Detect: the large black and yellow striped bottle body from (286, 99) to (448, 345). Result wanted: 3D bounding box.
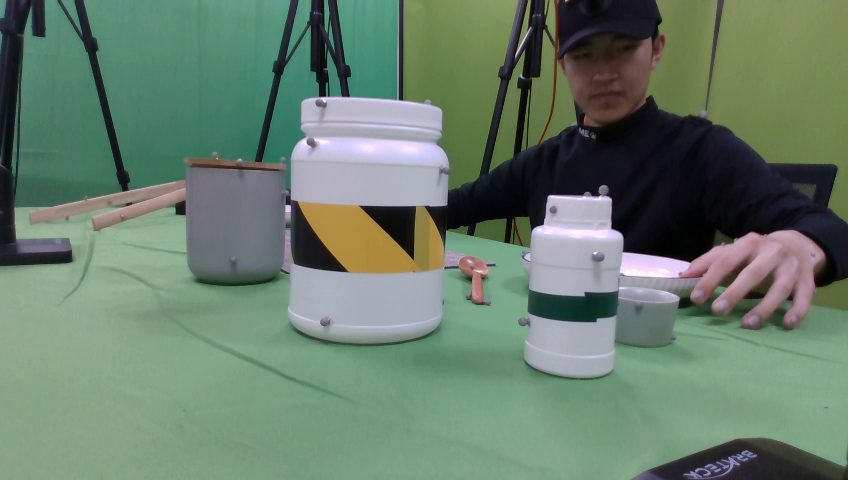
[{"bbox_3d":[-0.047,-0.018,0.501,0.131,0.184,0.130,2,7,0],"label":"large black and yellow striped bottle body"}]

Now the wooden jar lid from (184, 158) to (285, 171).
[{"bbox_3d":[-0.210,-0.078,0.674,0.108,0.020,0.108,4,5,0],"label":"wooden jar lid"}]

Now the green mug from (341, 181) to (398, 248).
[{"bbox_3d":[-0.089,-0.044,0.997,0.093,0.105,0.125,1,7,-8],"label":"green mug"}]

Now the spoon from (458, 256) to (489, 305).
[{"bbox_3d":[0.059,0.044,0.696,0.041,0.021,0.194,21,7,0],"label":"spoon"}]

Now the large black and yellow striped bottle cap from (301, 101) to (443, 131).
[{"bbox_3d":[-0.042,-0.100,0.491,0.115,0.019,0.115,1,8,0],"label":"large black and yellow striped bottle cap"}]

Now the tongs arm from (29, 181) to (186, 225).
[{"bbox_3d":[-0.609,-0.083,1.245,0.050,0.026,0.386,5,16,23],"label":"tongs arm"}]

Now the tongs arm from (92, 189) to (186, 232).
[{"bbox_3d":[-0.534,-0.076,1.222,0.028,0.028,0.388,-2,15,12],"label":"tongs arm"}]

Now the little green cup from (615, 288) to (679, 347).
[{"bbox_3d":[0.180,0.064,0.506,0.061,0.038,0.061,1,8,0],"label":"little green cup"}]

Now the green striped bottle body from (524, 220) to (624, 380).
[{"bbox_3d":[0.104,0.031,0.422,0.063,0.119,0.063,2,8,0],"label":"green striped bottle body"}]

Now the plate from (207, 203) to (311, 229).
[{"bbox_3d":[-0.342,-0.050,1.259,0.208,0.039,0.207,3,7,0],"label":"plate"}]

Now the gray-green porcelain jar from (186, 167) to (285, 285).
[{"bbox_3d":[-0.212,-0.017,0.682,0.106,0.126,0.106,2,7,0],"label":"gray-green porcelain jar"}]

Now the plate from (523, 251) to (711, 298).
[{"bbox_3d":[0.219,0.042,0.706,0.209,0.038,0.209,2,7,0],"label":"plate"}]

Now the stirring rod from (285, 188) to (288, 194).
[{"bbox_3d":[-0.353,-0.122,1.519,0.006,0.014,0.176,2,6,1],"label":"stirring rod"}]

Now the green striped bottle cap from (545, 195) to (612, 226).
[{"bbox_3d":[0.106,-0.020,0.414,0.044,0.020,0.044,2,4,0],"label":"green striped bottle cap"}]
